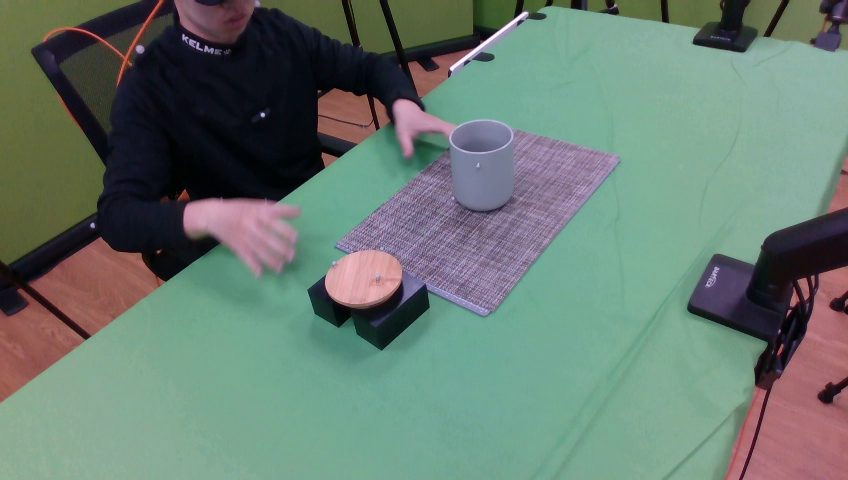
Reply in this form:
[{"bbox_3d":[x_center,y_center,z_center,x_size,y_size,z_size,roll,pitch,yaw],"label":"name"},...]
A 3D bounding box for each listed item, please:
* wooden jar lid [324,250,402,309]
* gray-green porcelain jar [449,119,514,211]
[{"bbox_3d":[-0.083,0.057,0.839,0.108,0.021,0.108,-4,40,4],"label":"wooden jar lid"},{"bbox_3d":[0.098,-0.120,1.008,0.106,0.127,0.105,-4,41,4],"label":"gray-green porcelain jar"}]
